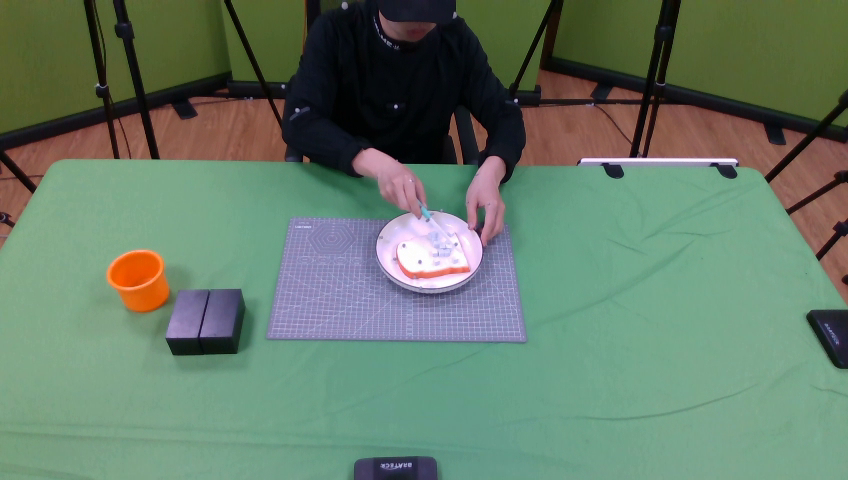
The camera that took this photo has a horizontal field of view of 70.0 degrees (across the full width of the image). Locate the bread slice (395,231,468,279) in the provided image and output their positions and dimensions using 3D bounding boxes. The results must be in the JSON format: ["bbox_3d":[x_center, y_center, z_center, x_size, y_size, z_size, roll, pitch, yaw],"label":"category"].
[{"bbox_3d":[0.011,0.030,1.158,0.132,0.019,0.104,-8,47,-14],"label":"bread slice"}]

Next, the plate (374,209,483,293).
[{"bbox_3d":[0.009,0.024,1.160,0.209,0.038,0.208,2,46,-2],"label":"plate"}]

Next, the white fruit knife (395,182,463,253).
[{"bbox_3d":[0.009,-0.046,1.164,0.016,0.027,0.206,-36,65,-14],"label":"white fruit knife"}]
